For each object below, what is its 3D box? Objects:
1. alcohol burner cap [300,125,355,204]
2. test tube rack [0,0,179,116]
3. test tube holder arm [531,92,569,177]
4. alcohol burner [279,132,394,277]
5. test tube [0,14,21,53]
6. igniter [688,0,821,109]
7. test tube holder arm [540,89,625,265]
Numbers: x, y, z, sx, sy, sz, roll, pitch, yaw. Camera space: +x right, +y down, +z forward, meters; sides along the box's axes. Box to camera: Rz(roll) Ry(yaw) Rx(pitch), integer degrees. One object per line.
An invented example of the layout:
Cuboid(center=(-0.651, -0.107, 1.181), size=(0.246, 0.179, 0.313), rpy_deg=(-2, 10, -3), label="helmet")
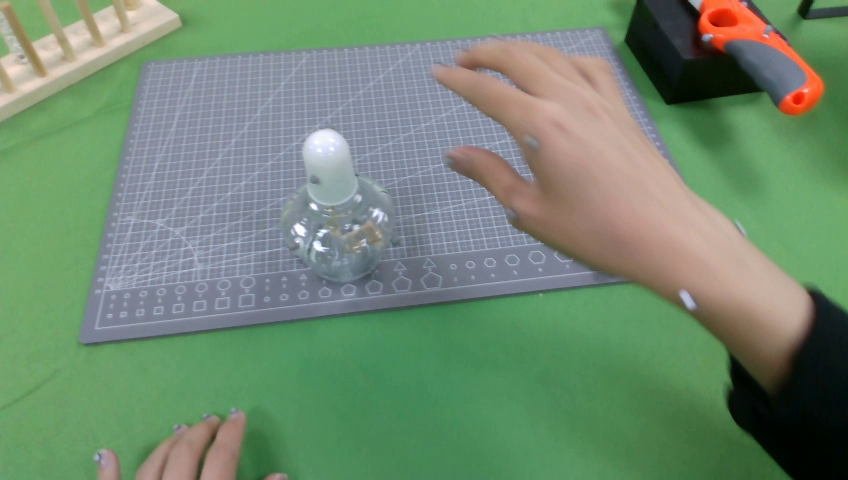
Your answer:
Cuboid(center=(-0.061, -0.048, 0.369), size=(0.034, 0.048, 0.033), rpy_deg=(1, 56, 0), label="alcohol burner cap")
Cuboid(center=(-0.349, -0.188, 0.532), size=(0.066, 0.086, 0.242), rpy_deg=(36, 61, 23), label="test tube rack")
Cuboid(center=(0.107, -0.089, 0.505), size=(0.010, 0.015, 0.087), rpy_deg=(-30, 52, 23), label="test tube holder arm")
Cuboid(center=(-0.059, -0.028, 0.398), size=(0.078, 0.120, 0.077), rpy_deg=(0, 56, 1), label="alcohol burner")
Cuboid(center=(-0.371, -0.221, 0.494), size=(0.017, 0.151, 0.017), rpy_deg=(1, 50, 0), label="test tube")
Cuboid(center=(0.255, -0.206, 0.531), size=(0.057, 0.025, 0.273), rpy_deg=(-12, 53, -6), label="igniter")
Cuboid(center=(0.121, -0.056, 0.478), size=(0.013, 0.015, 0.176), rpy_deg=(-31, 52, 22), label="test tube holder arm")
